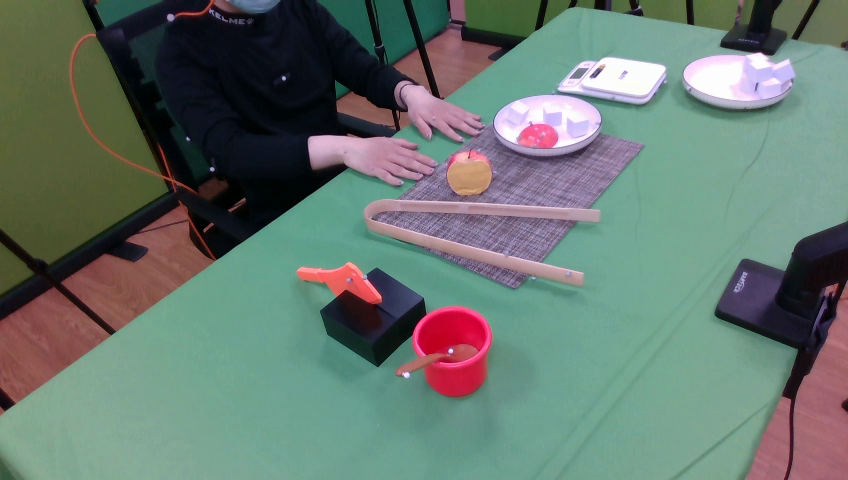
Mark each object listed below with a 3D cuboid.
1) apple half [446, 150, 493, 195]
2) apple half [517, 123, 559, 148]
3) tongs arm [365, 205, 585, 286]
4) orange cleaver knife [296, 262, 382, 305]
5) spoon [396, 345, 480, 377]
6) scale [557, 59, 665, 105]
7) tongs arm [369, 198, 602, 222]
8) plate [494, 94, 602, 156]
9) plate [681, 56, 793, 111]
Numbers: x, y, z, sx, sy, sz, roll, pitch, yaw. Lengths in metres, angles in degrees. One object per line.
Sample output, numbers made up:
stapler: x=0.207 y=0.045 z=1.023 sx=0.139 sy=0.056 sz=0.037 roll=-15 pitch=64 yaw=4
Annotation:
apple half: x=0.080 y=-0.124 z=1.065 sx=0.081 sy=0.075 sz=0.053 roll=-7 pitch=37 yaw=7
apple half: x=0.221 y=-0.208 z=1.161 sx=0.081 sy=0.033 sz=0.081 roll=-6 pitch=43 yaw=6
tongs arm: x=0.066 y=0.004 z=0.951 sx=0.382 sy=0.026 sz=0.051 roll=13 pitch=45 yaw=23
orange cleaver knife: x=-0.127 y=0.064 z=0.875 sx=0.012 sy=0.077 sz=0.210 roll=-43 pitch=22 yaw=-28
spoon: x=0.017 y=0.142 z=0.715 sx=0.041 sy=0.021 sz=0.195 roll=22 pitch=5 yaw=27
scale: x=0.407 y=-0.348 z=1.314 sx=0.199 sy=0.032 sz=0.149 roll=19 pitch=47 yaw=28
tongs arm: x=0.097 y=-0.048 z=1.008 sx=0.386 sy=0.028 sz=0.028 roll=3 pitch=46 yaw=13
plate: x=0.240 y=-0.221 z=1.181 sx=0.209 sy=0.038 sz=0.208 roll=-4 pitch=41 yaw=4
plate: x=0.636 y=-0.317 z=1.239 sx=0.207 sy=0.039 sz=0.206 roll=-4 pitch=40 yaw=4
